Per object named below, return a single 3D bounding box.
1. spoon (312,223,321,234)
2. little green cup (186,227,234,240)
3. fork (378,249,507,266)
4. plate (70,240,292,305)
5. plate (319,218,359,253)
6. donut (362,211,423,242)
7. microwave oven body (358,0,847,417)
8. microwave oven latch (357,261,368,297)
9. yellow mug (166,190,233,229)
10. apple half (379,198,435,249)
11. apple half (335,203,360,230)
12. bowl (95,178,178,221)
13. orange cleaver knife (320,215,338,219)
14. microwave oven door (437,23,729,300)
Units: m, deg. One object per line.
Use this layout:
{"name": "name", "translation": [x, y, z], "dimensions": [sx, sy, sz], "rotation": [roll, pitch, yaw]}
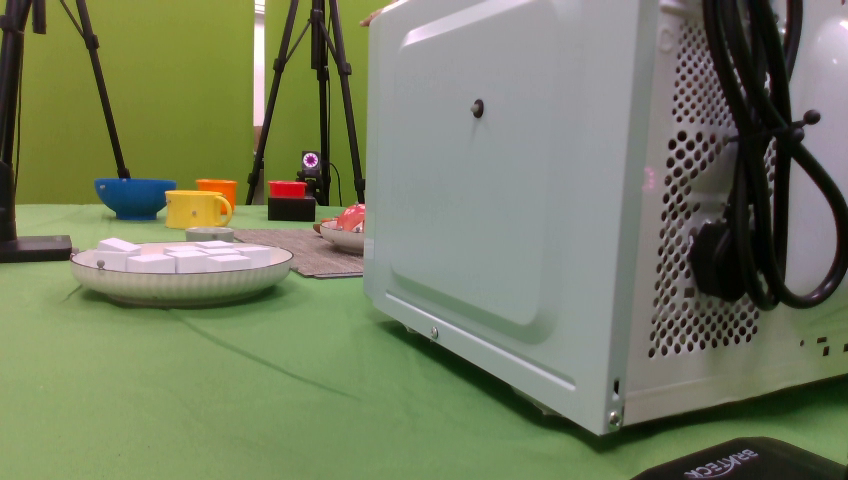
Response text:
{"name": "spoon", "translation": [-0.112, -0.022, 1.095], "dimensions": [0.195, 0.021, 0.041], "rotation": [-4, -16, -38]}
{"name": "little green cup", "translation": [-0.284, 0.005, 0.805], "dimensions": [0.061, 0.038, 0.061], "rotation": [2, 8, 0]}
{"name": "fork", "translation": [0.032, 0.022, 0.819], "dimensions": [0.208, 0.018, 0.028], "rotation": [-5, 4, -33]}
{"name": "plate", "translation": [-0.242, 0.031, 0.618], "dimensions": [0.208, 0.039, 0.207], "rotation": [2, 8, 0]}
{"name": "plate", "translation": [-0.059, -0.007, 0.939], "dimensions": [0.209, 0.038, 0.209], "rotation": [3, 8, 0]}
{"name": "donut", "translation": [-0.050, -0.020, 0.958], "dimensions": [0.099, 0.048, 0.099], "rotation": [3, 6, 0]}
{"name": "microwave oven body", "translation": [0.211, -0.047, 0.474], "dimensions": [0.444, 0.260, 0.324], "rotation": [-1, 7, -28]}
{"name": "microwave oven latch", "translation": [-0.019, 0.033, 0.530], "dimensions": [0.079, 0.029, 0.030], "rotation": [-1, 7, -27]}
{"name": "yellow mug", "translation": [-0.415, -0.057, 1.132], "dimensions": [0.130, 0.064, 0.100], "rotation": [6, 8, 16]}
{"name": "apple half", "translation": [-0.020, -0.030, 0.891], "dimensions": [0.081, 0.053, 0.074], "rotation": [-2, 49, -26]}
{"name": "apple half", "translation": [-0.116, -0.038, 0.959], "dimensions": [0.081, 0.033, 0.081], "rotation": [-37, 8, 7]}
{"name": "bowl", "translation": [-0.576, -0.081, 1.217], "dimensions": [0.151, 0.077, 0.151], "rotation": [3, 7, 0]}
{"name": "orange cleaver knife", "translation": [-0.142, -0.057, 1.394], "dimensions": [0.077, 0.012, 0.212], "rotation": [3, 7, 44]}
{"name": "microwave oven door", "translation": [0.181, -0.072, 0.621], "dimensions": [0.358, 0.243, 0.039], "rotation": [-2, 9, -29]}
